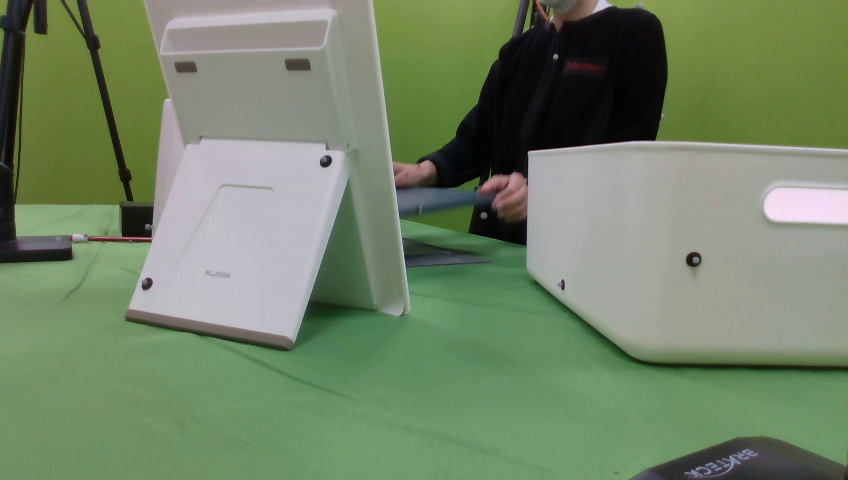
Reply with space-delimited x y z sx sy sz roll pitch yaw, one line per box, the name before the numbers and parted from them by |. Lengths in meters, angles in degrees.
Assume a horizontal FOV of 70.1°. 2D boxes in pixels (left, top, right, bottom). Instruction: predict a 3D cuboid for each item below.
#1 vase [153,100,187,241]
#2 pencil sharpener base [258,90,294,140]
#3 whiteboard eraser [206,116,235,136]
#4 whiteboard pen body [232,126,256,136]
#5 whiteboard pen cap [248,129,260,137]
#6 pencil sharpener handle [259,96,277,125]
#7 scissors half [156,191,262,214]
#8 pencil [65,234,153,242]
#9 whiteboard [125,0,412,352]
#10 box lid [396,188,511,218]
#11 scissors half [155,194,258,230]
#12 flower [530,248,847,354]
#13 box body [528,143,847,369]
vase | -0.278 -0.066 0.736 0.098 0.200 0.098 2 9 0
pencil sharpener base | -0.341 -0.285 1.388 0.062 0.107 0.076 -3 9 -36
whiteboard eraser | -0.449 -0.251 1.335 0.056 0.042 0.112 1 7 -22
whiteboard pen body | -0.407 -0.247 1.372 0.017 0.017 0.140 -3 13 -35
whiteboard pen cap | -0.373 -0.235 1.326 0.018 0.018 0.033 -3 12 -35
pencil sharpener handle | -0.373 -0.304 1.425 0.036 0.067 0.030 13 -1 -37
scissors half | -0.371 -0.069 1.051 0.176 0.040 0.013 2 25 -24
pencil | -0.429 -0.001 0.911 0.195 0.012 0.012 1 8 -19
whiteboard | -0.151 -0.049 0.472 0.216 0.305 0.144 6 27 24
box lid | -0.060 -0.058 0.913 0.262 0.015 0.373 5 11 35
scissors half | -0.378 -0.051 1.058 0.176 0.040 0.012 20 22 -31
flower | 0.251 0.060 0.602 0.044 0.038 0.359 34 -11 -40
box body | 0.258 -0.005 0.591 0.254 0.160 0.363 2 7 -4
